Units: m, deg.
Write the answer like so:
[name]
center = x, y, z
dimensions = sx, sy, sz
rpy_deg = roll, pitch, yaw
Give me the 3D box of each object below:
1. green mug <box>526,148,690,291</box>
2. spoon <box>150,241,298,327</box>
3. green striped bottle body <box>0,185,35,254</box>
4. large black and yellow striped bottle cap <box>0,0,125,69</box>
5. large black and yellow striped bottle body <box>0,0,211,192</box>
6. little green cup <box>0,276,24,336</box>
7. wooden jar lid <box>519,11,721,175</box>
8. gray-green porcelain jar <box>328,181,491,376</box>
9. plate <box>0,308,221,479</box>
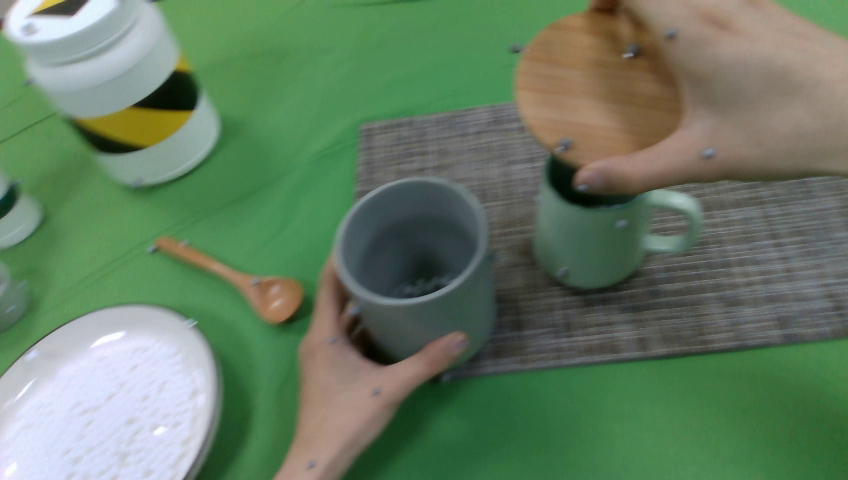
[green mug]
center = 0.144, -0.017, 0.479
dimensions = 0.125, 0.106, 0.092
rpy_deg = 11, 57, 17
[spoon]
center = -0.190, 0.032, 0.561
dimensions = 0.192, 0.022, 0.041
rpy_deg = 21, 79, 23
[green striped bottle body]
center = -0.456, -0.042, 0.601
dimensions = 0.063, 0.120, 0.062
rpy_deg = -5, 54, 8
[large black and yellow striped bottle cap]
center = -0.329, -0.197, 0.544
dimensions = 0.115, 0.019, 0.114
rpy_deg = -5, 53, 7
[large black and yellow striped bottle body]
center = -0.315, -0.151, 0.612
dimensions = 0.130, 0.186, 0.129
rpy_deg = -5, 55, 7
[little green cup]
center = -0.415, 0.063, 0.571
dimensions = 0.061, 0.039, 0.061
rpy_deg = -5, 54, 7
[wooden jar lid]
center = 0.107, -0.081, 0.340
dimensions = 0.108, 0.021, 0.107
rpy_deg = -2, 67, 5
[gray-green porcelain jar]
center = -0.004, 0.036, 0.455
dimensions = 0.106, 0.128, 0.105
rpy_deg = -5, 54, 7
[plate]
center = -0.257, 0.152, 0.480
dimensions = 0.209, 0.038, 0.207
rpy_deg = -5, 54, 7
